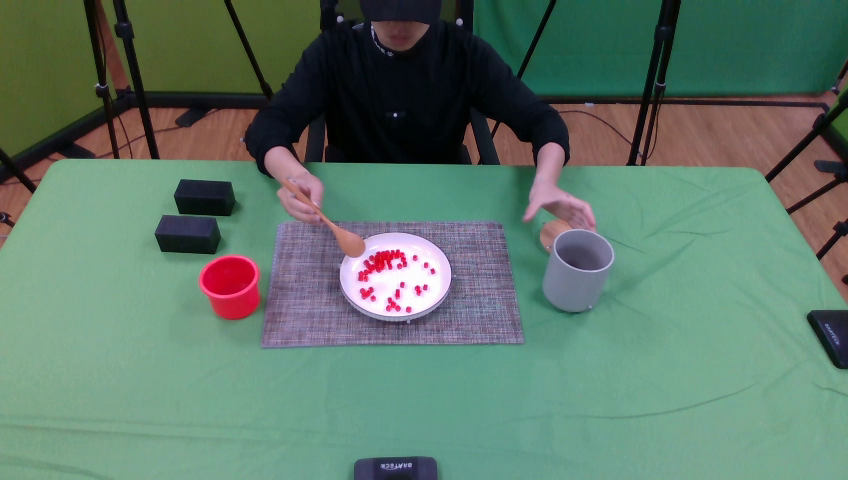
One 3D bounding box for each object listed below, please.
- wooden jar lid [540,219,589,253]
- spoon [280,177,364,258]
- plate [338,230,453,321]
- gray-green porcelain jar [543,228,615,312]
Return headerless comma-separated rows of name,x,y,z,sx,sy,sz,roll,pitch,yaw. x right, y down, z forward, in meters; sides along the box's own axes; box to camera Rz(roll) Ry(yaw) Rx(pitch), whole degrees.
wooden jar lid,0.286,0.001,1.218,0.108,0.021,0.107,1,46,-1
spoon,-0.178,-0.038,1.054,0.041,0.194,0.021,-46,16,1
plate,-0.051,0.068,1.111,0.208,0.039,0.206,2,46,-2
gray-green porcelain jar,0.273,0.059,1.087,0.106,0.127,0.105,2,46,-1
